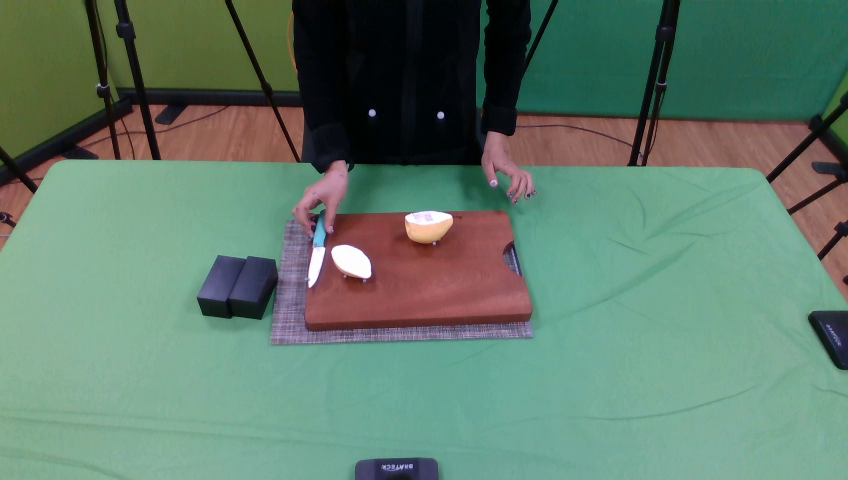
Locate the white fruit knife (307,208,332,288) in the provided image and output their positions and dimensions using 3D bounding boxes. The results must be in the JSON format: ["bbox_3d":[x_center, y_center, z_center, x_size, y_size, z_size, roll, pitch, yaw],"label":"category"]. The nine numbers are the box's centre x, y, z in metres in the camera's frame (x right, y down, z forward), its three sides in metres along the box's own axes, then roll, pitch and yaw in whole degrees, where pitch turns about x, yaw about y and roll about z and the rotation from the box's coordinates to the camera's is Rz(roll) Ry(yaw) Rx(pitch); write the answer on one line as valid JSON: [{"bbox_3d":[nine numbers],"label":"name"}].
[{"bbox_3d":[-0.198,0.011,1.134,0.027,0.016,0.206,19,43,-17],"label":"white fruit knife"}]

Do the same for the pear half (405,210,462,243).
[{"bbox_3d":[0.021,-0.026,1.160,0.110,0.056,0.076,-9,30,-9],"label":"pear half"}]

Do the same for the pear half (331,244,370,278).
[{"bbox_3d":[-0.133,0.045,1.097,0.070,0.031,0.087,-22,62,-42],"label":"pear half"}]
